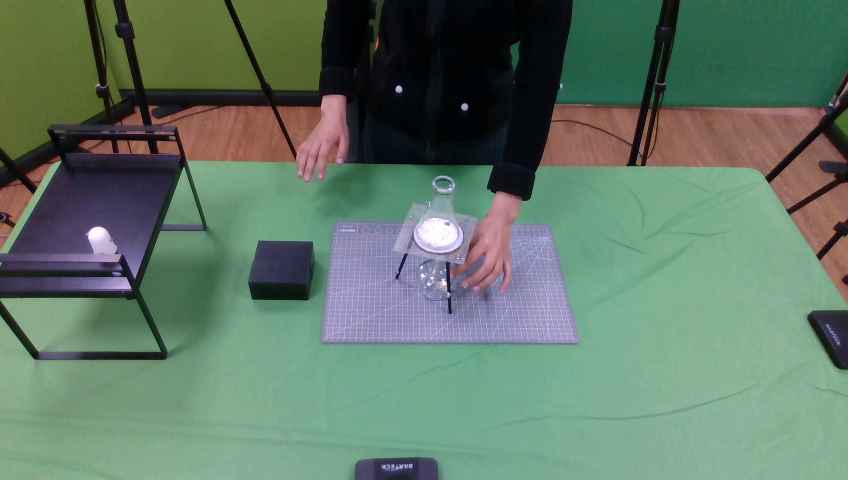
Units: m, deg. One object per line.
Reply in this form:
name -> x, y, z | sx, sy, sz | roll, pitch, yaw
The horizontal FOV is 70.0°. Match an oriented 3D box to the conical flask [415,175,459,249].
conical flask -> 0.026, -0.049, 0.993 | 0.075, 0.122, 0.075 | 3, 47, -3

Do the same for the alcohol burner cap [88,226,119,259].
alcohol burner cap -> -0.476, 0.001, 0.895 | 0.034, 0.048, 0.033 | 1, 47, -1

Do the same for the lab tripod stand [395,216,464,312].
lab tripod stand -> 0.023, 0.037, 1.084 | 0.148, 0.132, 0.147 | 4, 46, -4

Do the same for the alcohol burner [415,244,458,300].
alcohol burner -> 0.023, 0.052, 1.083 | 0.078, 0.119, 0.077 | 3, 45, -2

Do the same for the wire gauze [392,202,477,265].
wire gauze -> 0.021, -0.011, 1.037 | 0.121, 0.011, 0.124 | 13, 49, 8
